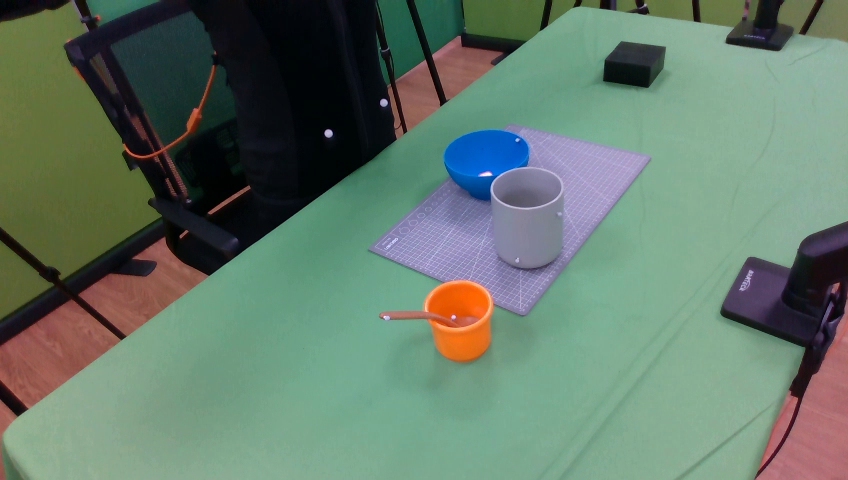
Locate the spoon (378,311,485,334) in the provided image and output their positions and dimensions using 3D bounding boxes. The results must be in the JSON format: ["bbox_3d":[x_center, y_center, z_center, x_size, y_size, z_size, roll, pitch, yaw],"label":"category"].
[{"bbox_3d":[0.013,0.101,0.767,0.041,0.195,0.021,34,101,41],"label":"spoon"}]

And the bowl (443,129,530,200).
[{"bbox_3d":[0.113,-0.123,1.063,0.151,0.077,0.150,-6,40,5],"label":"bowl"}]

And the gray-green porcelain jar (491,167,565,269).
[{"bbox_3d":[0.157,-0.029,0.904,0.106,0.127,0.105,-6,40,5],"label":"gray-green porcelain jar"}]
